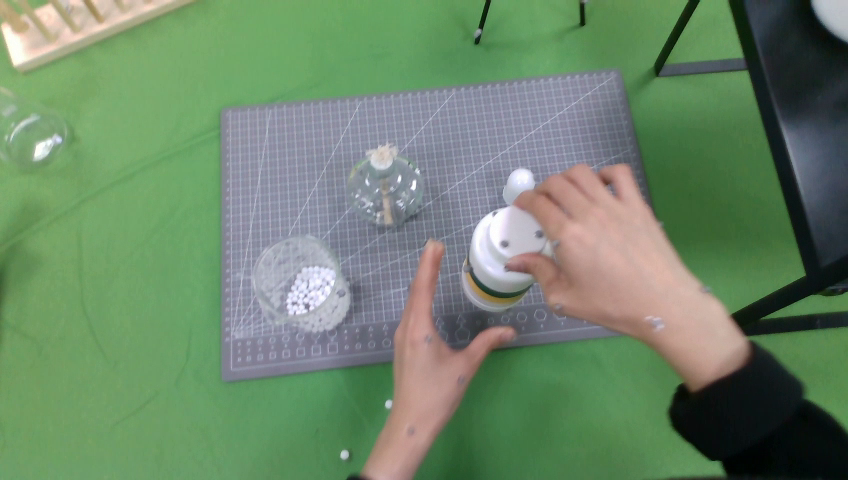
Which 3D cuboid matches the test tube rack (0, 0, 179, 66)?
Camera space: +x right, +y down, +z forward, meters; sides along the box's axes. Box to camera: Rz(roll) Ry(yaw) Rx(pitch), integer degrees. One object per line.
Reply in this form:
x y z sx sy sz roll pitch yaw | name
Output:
-0.375 -0.293 0.681 0.242 0.085 0.066 -26 73 -8 | test tube rack

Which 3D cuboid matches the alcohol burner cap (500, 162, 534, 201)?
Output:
0.097 -0.063 0.622 0.034 0.048 0.033 0 72 0 | alcohol burner cap

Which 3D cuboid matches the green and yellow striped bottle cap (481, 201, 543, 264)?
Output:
0.065 -0.006 0.451 0.045 0.020 0.045 1 72 -3 | green and yellow striped bottle cap

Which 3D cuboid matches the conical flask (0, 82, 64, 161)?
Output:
-0.432 -0.137 0.612 0.075 0.122 0.075 0 71 1 | conical flask

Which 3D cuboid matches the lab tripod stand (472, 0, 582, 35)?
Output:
0.114 -0.302 0.654 0.148 0.132 0.147 0 71 -1 | lab tripod stand

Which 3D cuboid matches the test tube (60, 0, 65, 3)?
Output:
-0.417 -0.307 0.634 0.017 0.151 0.017 1 68 -3 | test tube

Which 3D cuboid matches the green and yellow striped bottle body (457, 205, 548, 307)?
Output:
0.064 0.012 0.500 0.063 0.120 0.063 1 71 -3 | green and yellow striped bottle body

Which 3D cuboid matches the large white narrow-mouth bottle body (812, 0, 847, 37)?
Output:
0.360 -0.229 0.408 0.102 0.196 0.101 -1 72 2 | large white narrow-mouth bottle body

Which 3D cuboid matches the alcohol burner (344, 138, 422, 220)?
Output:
-0.040 -0.065 0.586 0.078 0.120 0.077 0 70 -1 | alcohol burner

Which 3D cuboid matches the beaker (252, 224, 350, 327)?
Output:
-0.110 0.041 0.560 0.074 0.101 0.083 23 74 9 | beaker
